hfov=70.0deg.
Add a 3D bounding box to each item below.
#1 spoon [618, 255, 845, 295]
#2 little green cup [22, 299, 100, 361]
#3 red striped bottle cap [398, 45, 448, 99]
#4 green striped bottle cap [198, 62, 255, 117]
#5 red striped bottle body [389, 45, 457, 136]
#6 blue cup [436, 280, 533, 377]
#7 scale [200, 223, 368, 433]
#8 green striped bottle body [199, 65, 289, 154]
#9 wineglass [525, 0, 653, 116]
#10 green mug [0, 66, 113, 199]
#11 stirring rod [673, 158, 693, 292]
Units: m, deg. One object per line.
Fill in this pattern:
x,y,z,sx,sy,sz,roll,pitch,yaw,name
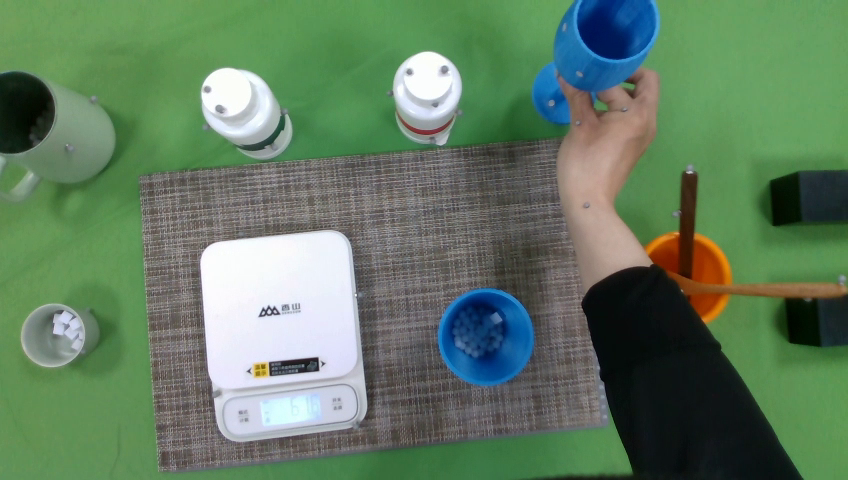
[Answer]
0.277,0.035,0.567,0.022,0.192,0.041,-11,97,-45,spoon
-0.356,0.088,0.599,0.061,0.038,0.061,0,86,-2,little green cup
-0.001,-0.147,0.530,0.044,0.018,0.044,0,83,-1,red striped bottle cap
-0.170,-0.129,0.521,0.044,0.020,0.044,0,86,0,green striped bottle cap
-0.002,-0.144,0.583,0.063,0.120,0.063,0,86,-2,red striped bottle body
0.053,0.080,0.577,0.092,0.100,0.092,0,87,0,blue cup
-0.139,0.088,0.606,0.149,0.031,0.200,-7,87,-2,scale
-0.171,-0.124,0.577,0.063,0.119,0.063,0,86,-1,green striped bottle body
0.133,-0.159,0.517,0.074,0.172,0.073,0,87,0,wineglass
-0.371,-0.095,0.577,0.092,0.105,0.125,29,86,0,green mug
0.241,-0.007,0.566,0.014,0.178,0.006,9,52,28,stirring rod
